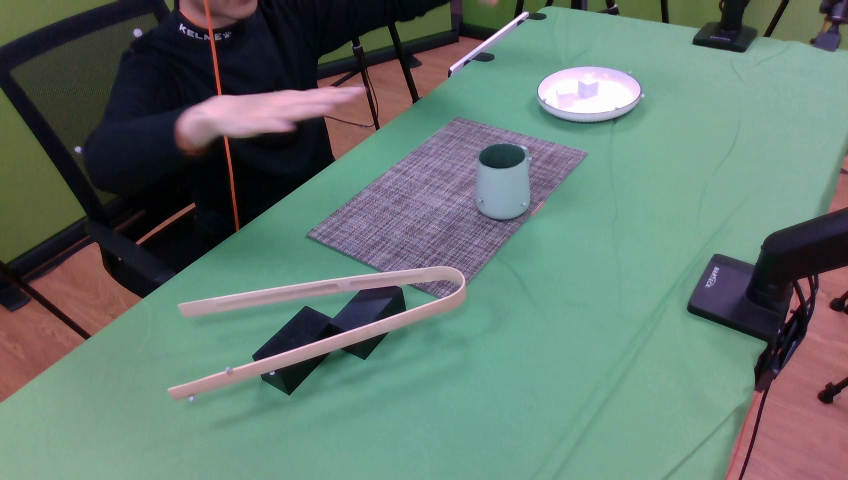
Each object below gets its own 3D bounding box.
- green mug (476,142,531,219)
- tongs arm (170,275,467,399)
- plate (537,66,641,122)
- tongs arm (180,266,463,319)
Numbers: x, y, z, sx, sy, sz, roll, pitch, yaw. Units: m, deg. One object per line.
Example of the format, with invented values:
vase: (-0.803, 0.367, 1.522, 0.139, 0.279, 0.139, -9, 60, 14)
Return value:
green mug: (0.139, -0.106, 1.003, 0.092, 0.105, 0.125, 21, 49, 30)
tongs arm: (-0.122, 0.120, 0.768, 0.386, 0.026, 0.050, -16, 38, -9)
plate: (0.338, -0.299, 1.255, 0.209, 0.038, 0.208, -4, 41, 4)
tongs arm: (-0.139, 0.073, 0.828, 0.388, 0.028, 0.028, -8, 34, 0)
